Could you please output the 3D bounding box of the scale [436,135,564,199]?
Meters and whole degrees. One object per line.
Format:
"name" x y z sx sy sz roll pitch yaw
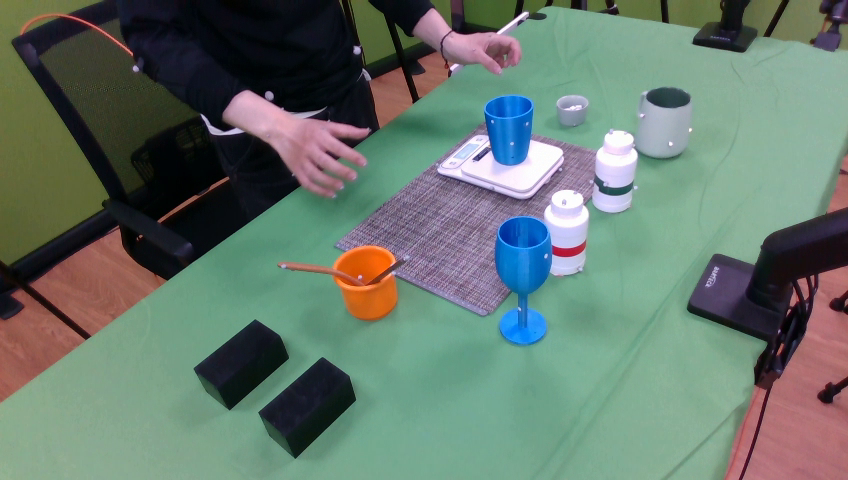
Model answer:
"scale" 0.137 -0.141 1.101 0.199 0.032 0.149 22 48 30

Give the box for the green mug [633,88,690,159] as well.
"green mug" 0.423 -0.217 1.099 0.093 0.105 0.124 -16 41 -10

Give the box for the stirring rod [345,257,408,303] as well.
"stirring rod" -0.067 0.057 0.814 0.014 0.175 0.006 -23 81 -38

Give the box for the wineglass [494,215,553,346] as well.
"wineglass" 0.126 0.055 0.770 0.074 0.173 0.073 -4 40 4

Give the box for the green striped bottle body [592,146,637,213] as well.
"green striped bottle body" 0.307 -0.108 0.976 0.063 0.120 0.063 -4 41 4

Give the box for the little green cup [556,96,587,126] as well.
"little green cup" 0.295 -0.258 1.214 0.061 0.039 0.061 -4 42 4

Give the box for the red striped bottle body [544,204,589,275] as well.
"red striped bottle body" 0.206 -0.011 0.877 0.063 0.120 0.062 -5 41 4

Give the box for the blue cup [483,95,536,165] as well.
"blue cup" 0.148 -0.188 1.053 0.092 0.100 0.092 -5 39 5

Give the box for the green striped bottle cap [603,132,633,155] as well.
"green striped bottle cap" 0.302 -0.149 0.939 0.044 0.020 0.044 -3 40 3

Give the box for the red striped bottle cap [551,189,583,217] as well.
"red striped bottle cap" 0.200 -0.052 0.843 0.044 0.018 0.044 -2 42 2

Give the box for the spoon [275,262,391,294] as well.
"spoon" -0.120 0.050 0.830 0.041 0.195 0.021 31 97 45
